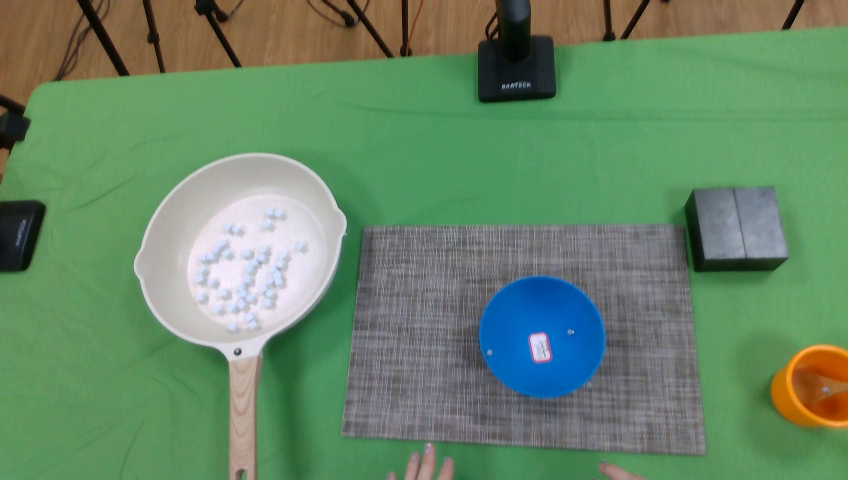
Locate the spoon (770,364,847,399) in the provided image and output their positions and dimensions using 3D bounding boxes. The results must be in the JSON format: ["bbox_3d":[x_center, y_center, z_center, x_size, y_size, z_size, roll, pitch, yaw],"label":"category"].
[{"bbox_3d":[0.482,0.156,0.662,0.022,0.193,0.041,25,67,-29],"label":"spoon"}]

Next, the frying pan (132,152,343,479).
[{"bbox_3d":[-0.244,0.103,0.817,0.307,0.104,0.483,-11,59,5],"label":"frying pan"}]

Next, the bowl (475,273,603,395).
[{"bbox_3d":[0.143,0.124,0.760,0.151,0.077,0.150,-3,68,7],"label":"bowl"}]
